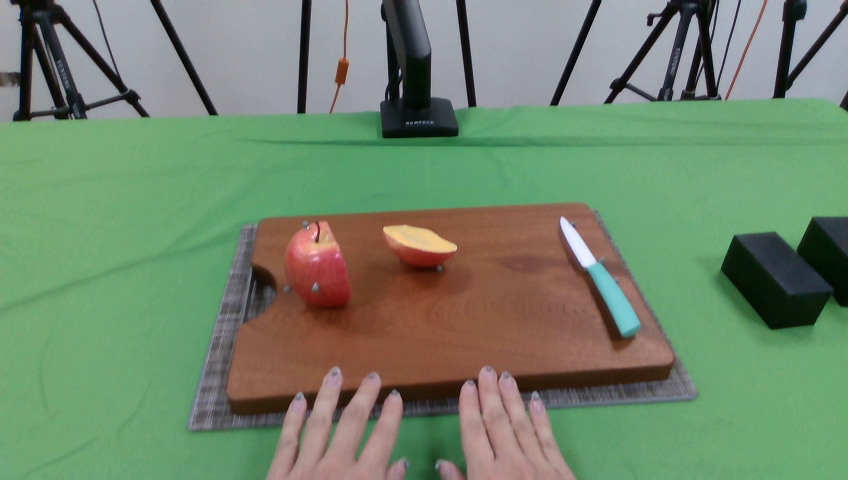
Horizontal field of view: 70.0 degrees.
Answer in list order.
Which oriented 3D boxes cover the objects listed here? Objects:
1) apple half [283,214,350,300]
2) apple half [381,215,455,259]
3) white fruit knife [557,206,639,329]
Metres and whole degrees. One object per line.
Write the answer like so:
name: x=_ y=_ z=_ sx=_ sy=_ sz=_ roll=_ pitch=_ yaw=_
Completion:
apple half: x=-0.108 y=0.021 z=0.588 sx=0.053 sy=0.075 sz=0.080 roll=-18 pitch=46 yaw=-15
apple half: x=-0.012 y=0.001 z=0.639 sx=0.081 sy=0.033 sz=0.081 roll=16 pitch=18 yaw=-5
white fruit knife: x=0.178 y=0.019 z=0.639 sx=0.027 sy=0.016 sz=0.205 roll=7 pitch=35 yaw=-16
